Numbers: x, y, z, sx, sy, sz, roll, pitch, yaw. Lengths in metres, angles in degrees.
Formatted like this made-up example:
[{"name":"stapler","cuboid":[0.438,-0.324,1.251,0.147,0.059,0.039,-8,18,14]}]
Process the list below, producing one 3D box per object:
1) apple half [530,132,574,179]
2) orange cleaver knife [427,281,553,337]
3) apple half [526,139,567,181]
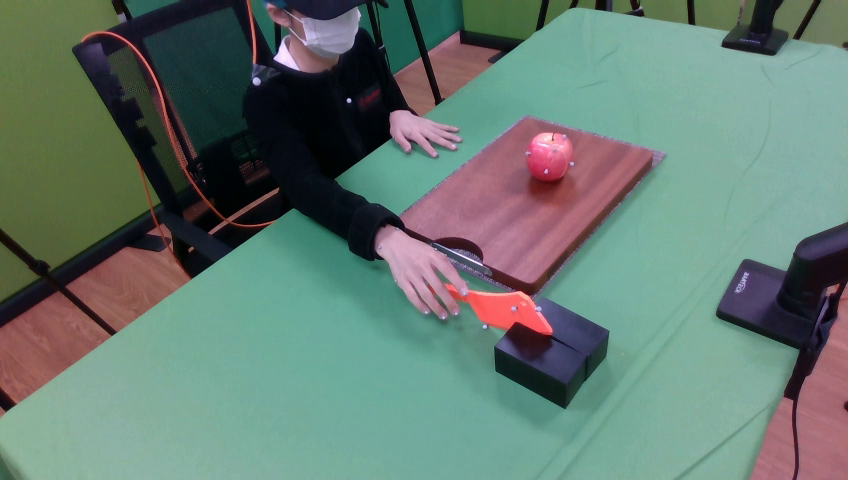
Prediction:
[{"name":"apple half","cuboid":[0.222,-0.147,1.031,0.080,0.075,0.053,20,44,35]},{"name":"orange cleaver knife","cuboid":[0.082,0.090,0.810,0.012,0.077,0.209,-42,28,-29]},{"name":"apple half","cuboid":[0.198,-0.126,1.009,0.080,0.081,0.033,24,46,32]}]
